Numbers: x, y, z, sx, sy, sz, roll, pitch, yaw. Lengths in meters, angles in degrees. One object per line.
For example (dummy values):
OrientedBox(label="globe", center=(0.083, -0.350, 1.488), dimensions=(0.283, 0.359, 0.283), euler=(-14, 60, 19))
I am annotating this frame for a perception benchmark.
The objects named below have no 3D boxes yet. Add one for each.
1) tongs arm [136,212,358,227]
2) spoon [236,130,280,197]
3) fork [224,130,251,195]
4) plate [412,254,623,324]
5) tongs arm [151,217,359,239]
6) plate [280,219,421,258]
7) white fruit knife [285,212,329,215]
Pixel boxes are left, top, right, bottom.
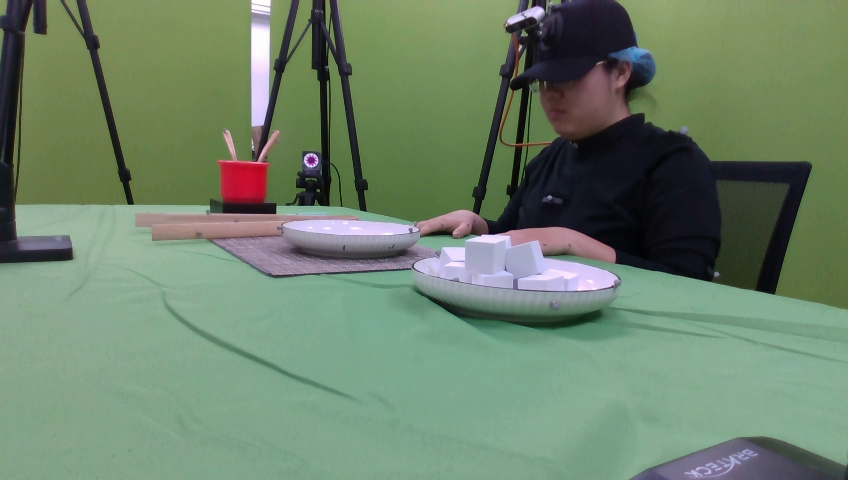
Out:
OrientedBox(label="tongs arm", center=(-0.308, -0.034, 1.100), dimensions=(0.387, 0.026, 0.050), euler=(-1, 6, -29))
OrientedBox(label="spoon", center=(-0.321, -0.154, 1.192), dimensions=(0.041, 0.193, 0.022), euler=(0, -37, 19))
OrientedBox(label="fork", center=(-0.372, -0.155, 1.193), dimensions=(0.028, 0.018, 0.206), euler=(-17, 54, -14))
OrientedBox(label="plate", center=(0.090, 0.047, 0.609), dimensions=(0.209, 0.038, 0.209), euler=(2, 7, 0))
OrientedBox(label="tongs arm", center=(-0.263, -0.023, 1.032), dimensions=(0.390, 0.028, 0.028), euler=(-3, 5, -42))
OrientedBox(label="plate", center=(-0.108, -0.002, 0.902), dimensions=(0.208, 0.039, 0.207), euler=(3, 7, 0))
OrientedBox(label="white fruit knife", center=(-0.304, -0.050, 1.328), dimensions=(0.208, 0.016, 0.027), euler=(-3, -19, -29))
